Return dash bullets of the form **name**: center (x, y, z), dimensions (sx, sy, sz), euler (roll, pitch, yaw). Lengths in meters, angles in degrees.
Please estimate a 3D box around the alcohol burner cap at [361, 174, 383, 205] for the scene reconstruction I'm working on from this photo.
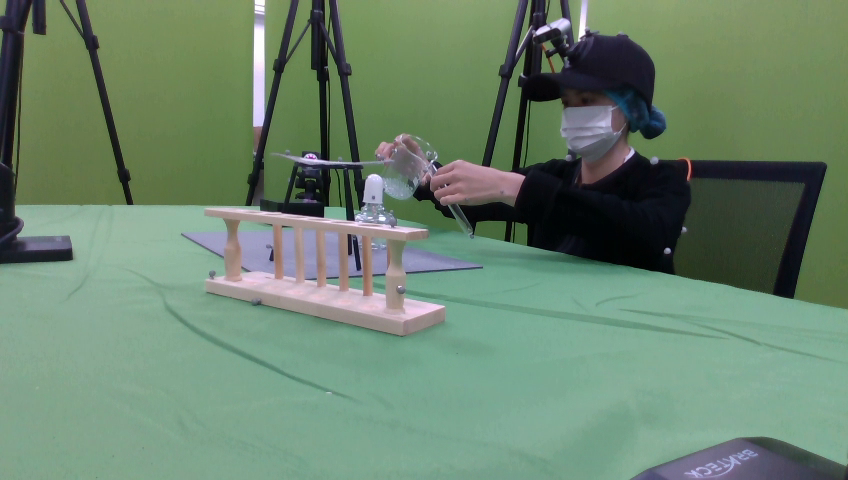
- **alcohol burner cap**: center (-0.080, -0.078, 0.945), dimensions (0.034, 0.048, 0.034), euler (5, 8, 0)

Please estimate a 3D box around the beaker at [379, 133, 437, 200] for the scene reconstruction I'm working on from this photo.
- **beaker**: center (-0.032, -0.126, 1.077), dimensions (0.074, 0.100, 0.083), euler (0, 45, -41)

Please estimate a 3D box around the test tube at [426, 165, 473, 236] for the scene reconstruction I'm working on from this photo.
- **test tube**: center (0.042, -0.067, 0.998), dimensions (0.017, 0.017, 0.149), euler (-4, 54, -41)

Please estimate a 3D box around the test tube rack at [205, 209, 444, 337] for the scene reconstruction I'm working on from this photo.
- **test tube rack**: center (-0.100, 0.021, 0.565), dimensions (0.241, 0.085, 0.067), euler (7, 9, 32)

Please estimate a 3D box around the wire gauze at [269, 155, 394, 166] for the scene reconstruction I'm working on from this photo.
- **wire gauze**: center (-0.121, -0.102, 0.785), dimensions (0.122, 0.011, 0.124), euler (-3, 10, -39)

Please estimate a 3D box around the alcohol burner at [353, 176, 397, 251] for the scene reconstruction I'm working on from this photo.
- **alcohol burner**: center (-0.082, -0.043, 0.950), dimensions (0.078, 0.119, 0.078), euler (1, 8, 0)

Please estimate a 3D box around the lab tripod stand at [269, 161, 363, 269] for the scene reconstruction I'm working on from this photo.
- **lab tripod stand**: center (-0.125, -0.036, 0.794), dimensions (0.148, 0.131, 0.148), euler (5, 7, 0)
